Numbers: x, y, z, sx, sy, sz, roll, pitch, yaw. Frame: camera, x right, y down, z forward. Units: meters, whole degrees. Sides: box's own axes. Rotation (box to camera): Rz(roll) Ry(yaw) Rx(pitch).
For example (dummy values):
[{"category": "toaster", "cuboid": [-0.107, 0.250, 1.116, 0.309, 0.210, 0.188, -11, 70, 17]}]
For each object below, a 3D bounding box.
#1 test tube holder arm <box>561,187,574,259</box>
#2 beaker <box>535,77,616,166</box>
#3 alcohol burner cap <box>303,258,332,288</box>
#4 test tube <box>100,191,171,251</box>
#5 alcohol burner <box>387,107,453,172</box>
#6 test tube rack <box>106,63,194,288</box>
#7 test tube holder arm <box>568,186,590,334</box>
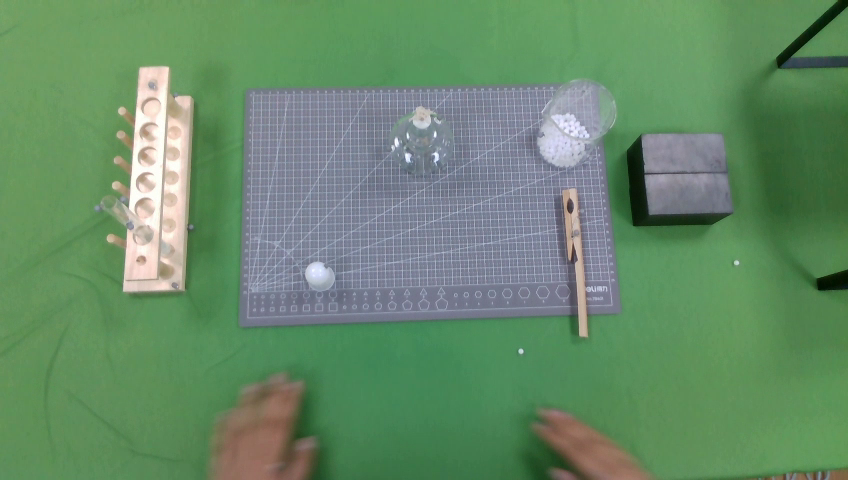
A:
[{"category": "test tube holder arm", "cuboid": [0.176, -0.020, 0.736, 0.010, 0.015, 0.087, -9, 78, 28]}, {"category": "beaker", "cuboid": [0.172, -0.135, 0.719, 0.084, 0.100, 0.073, -3, 77, -2]}, {"category": "alcohol burner cap", "cuboid": [-0.125, 0.036, 0.698, 0.034, 0.048, 0.033, 1, 77, -3]}, {"category": "test tube", "cuboid": [-0.297, -0.016, 0.633, 0.017, 0.151, 0.017, 1, 72, -2]}, {"category": "alcohol burner", "cuboid": [-0.005, -0.124, 0.702, 0.078, 0.119, 0.077, 0, 78, 0]}, {"category": "test tube rack", "cuboid": [-0.317, -0.072, 0.695, 0.067, 0.085, 0.241, -1, 77, -2]}, {"category": "test tube holder arm", "cuboid": [0.184, 0.023, 0.725, 0.013, 0.015, 0.177, -10, 77, 28]}]
